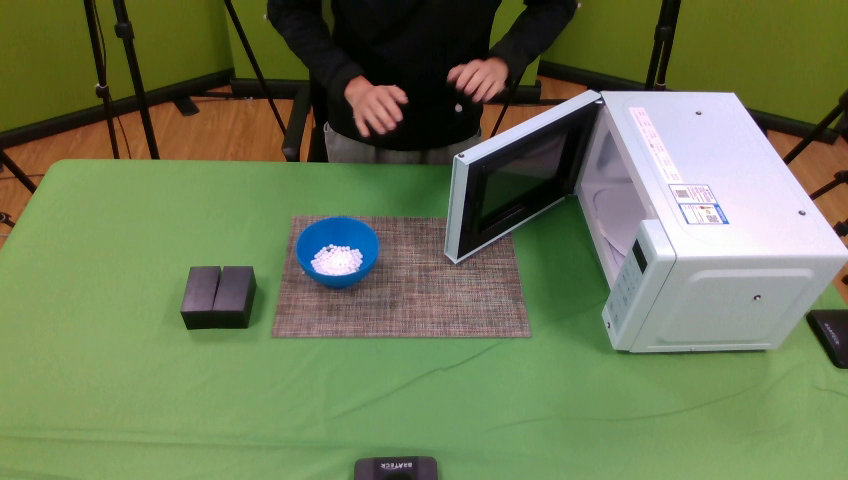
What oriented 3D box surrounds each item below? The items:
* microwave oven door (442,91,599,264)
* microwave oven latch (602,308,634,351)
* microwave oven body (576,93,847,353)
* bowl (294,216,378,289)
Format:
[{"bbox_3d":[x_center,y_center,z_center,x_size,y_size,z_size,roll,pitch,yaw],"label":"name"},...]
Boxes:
[{"bbox_3d":[0.187,-0.123,1.160,0.356,0.245,0.039,-29,55,-28],"label":"microwave oven door"},{"bbox_3d":[0.332,0.153,1.044,0.030,0.029,0.078,-1,45,-4],"label":"microwave oven latch"},{"bbox_3d":[0.475,-0.041,1.109,0.326,0.261,0.438,-1,45,-4],"label":"microwave oven body"},{"bbox_3d":[-0.158,0.036,1.110,0.151,0.077,0.150,3,45,-2],"label":"bowl"}]
